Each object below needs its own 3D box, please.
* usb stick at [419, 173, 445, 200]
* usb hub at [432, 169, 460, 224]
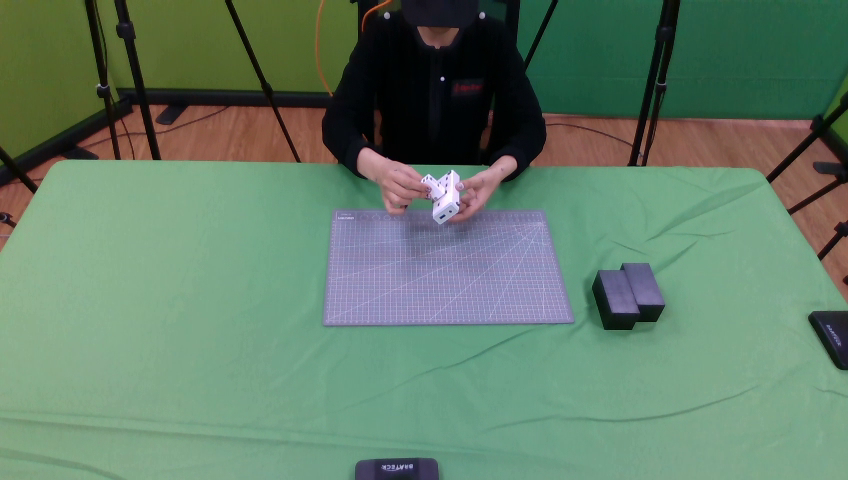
[{"bbox_3d":[0.020,-0.096,1.137,0.027,0.059,0.021,-35,28,23],"label":"usb stick"},{"bbox_3d":[0.043,-0.084,1.154,0.025,0.049,0.124,42,30,-25],"label":"usb hub"}]
